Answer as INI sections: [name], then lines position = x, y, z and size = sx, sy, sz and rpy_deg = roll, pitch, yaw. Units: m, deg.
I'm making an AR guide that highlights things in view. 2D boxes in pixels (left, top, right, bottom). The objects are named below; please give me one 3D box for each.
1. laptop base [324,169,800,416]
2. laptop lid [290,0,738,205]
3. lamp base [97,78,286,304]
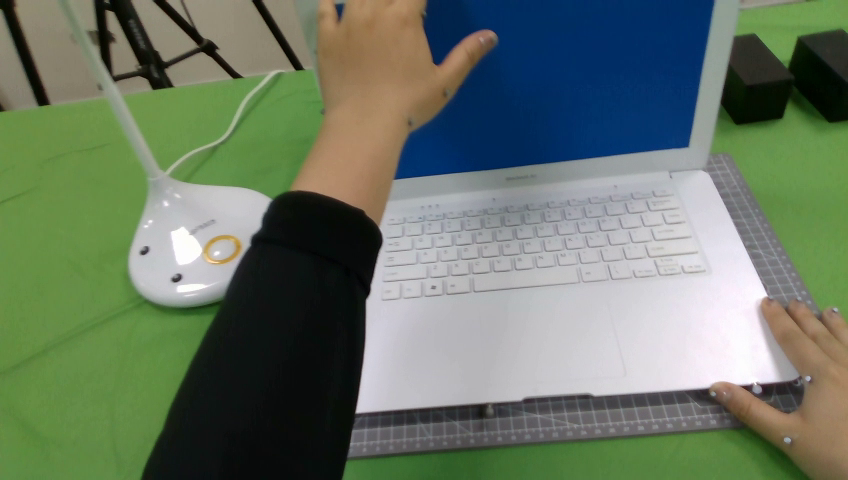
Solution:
[laptop base]
position = 0.098, 0.037, 0.529
size = 0.354, 0.023, 0.233
rpy_deg = -5, 48, 5
[laptop lid]
position = 0.081, -0.135, 0.531
size = 0.356, 0.244, 0.013
rpy_deg = -7, 42, 7
[lamp base]
position = -0.241, -0.057, 0.571
size = 0.177, 0.182, 0.160
rpy_deg = 25, 55, 33
